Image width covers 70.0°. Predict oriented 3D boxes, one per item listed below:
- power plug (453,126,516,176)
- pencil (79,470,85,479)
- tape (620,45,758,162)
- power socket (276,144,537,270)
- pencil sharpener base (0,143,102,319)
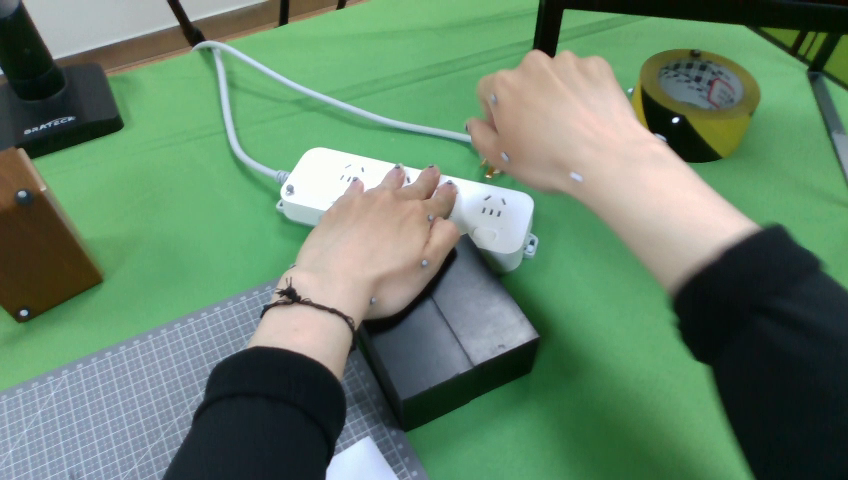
[{"bbox_3d":[0.054,-0.079,0.565,0.072,0.035,0.052,-11,41,48],"label":"power plug"},{"bbox_3d":[-0.185,0.214,0.327,0.012,0.012,0.192,-17,50,-13],"label":"pencil"},{"bbox_3d":[0.253,-0.133,0.584,0.117,0.053,0.115,0,51,0],"label":"tape"},{"bbox_3d":[-0.015,-0.030,0.513,0.226,0.033,0.071,14,52,11],"label":"power socket"},{"bbox_3d":[-0.301,-0.003,0.442,0.076,0.108,0.061,-33,58,-24],"label":"pencil sharpener base"}]
